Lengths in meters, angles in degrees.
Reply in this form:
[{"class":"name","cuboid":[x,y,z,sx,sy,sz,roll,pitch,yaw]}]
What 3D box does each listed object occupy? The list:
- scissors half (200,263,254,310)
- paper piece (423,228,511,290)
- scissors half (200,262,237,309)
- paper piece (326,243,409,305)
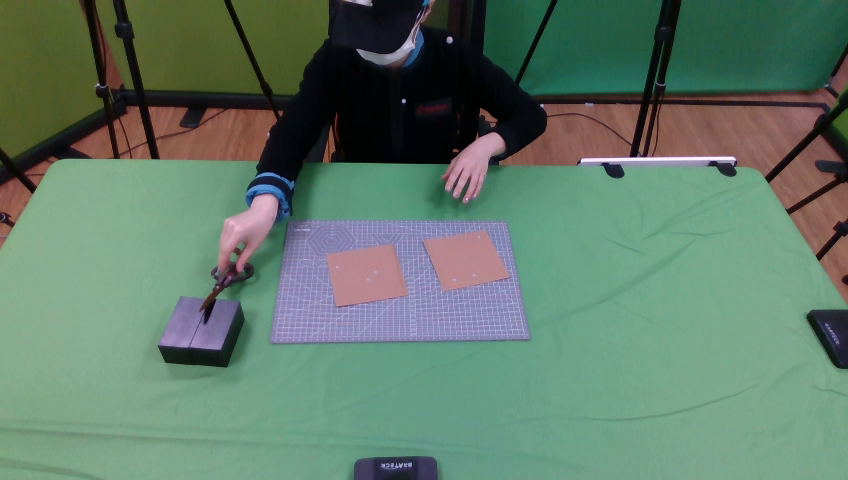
[{"class":"scissors half","cuboid":[-0.343,0.079,1.058,0.040,0.013,0.174,4,23,12]},{"class":"paper piece","cuboid":[0.082,0.034,1.176,0.138,0.009,0.135,-8,52,-15]},{"class":"scissors half","cuboid":[-0.363,0.078,1.058,0.040,0.013,0.174,2,22,-5]},{"class":"paper piece","cuboid":[-0.108,0.061,1.135,0.136,0.004,0.134,-8,46,-12]}]
